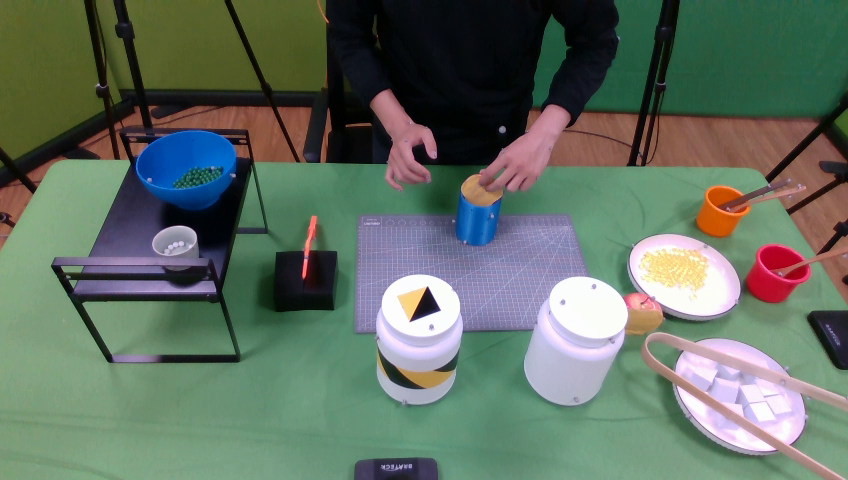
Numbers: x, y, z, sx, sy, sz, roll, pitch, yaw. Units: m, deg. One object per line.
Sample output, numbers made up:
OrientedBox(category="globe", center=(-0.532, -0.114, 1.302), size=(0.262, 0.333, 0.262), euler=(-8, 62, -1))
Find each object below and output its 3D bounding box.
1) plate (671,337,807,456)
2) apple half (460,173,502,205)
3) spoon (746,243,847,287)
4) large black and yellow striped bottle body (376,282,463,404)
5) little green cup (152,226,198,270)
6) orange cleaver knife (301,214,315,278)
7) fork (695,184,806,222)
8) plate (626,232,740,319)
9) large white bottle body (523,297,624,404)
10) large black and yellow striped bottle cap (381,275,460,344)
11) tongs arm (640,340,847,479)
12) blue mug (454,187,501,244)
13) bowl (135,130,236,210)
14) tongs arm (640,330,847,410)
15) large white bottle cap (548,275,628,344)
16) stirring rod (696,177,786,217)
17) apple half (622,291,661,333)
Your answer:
OrientedBox(category="plate", center=(0.504, 0.254, 0.984), size=(0.208, 0.039, 0.206), euler=(2, 46, -2))
OrientedBox(category="apple half", center=(0.110, -0.102, 1.158), size=(0.081, 0.081, 0.032), euler=(15, 41, 10))
OrientedBox(category="spoon", center=(0.702, 0.044, 1.126), size=(0.194, 0.022, 0.041), euler=(-29, 38, 30))
OrientedBox(category="large black and yellow striped bottle body", center=(-0.010, 0.155, 0.937), size=(0.131, 0.185, 0.130), euler=(2, 47, -2))
OrientedBox(category="little green cup", center=(-0.364, 0.013, 0.894), size=(0.061, 0.039, 0.061), euler=(3, 47, -3))
OrientedBox(category="orange cleaver knife", center=(-0.218, 0.007, 1.131), size=(0.012, 0.077, 0.210), euler=(7, 19, -9))
OrientedBox(category="fork", center=(0.658, -0.074, 1.230), size=(0.207, 0.019, 0.028), euler=(-24, 34, 36))
OrientedBox(category="plate", center=(0.489, 0.071, 1.157), size=(0.209, 0.038, 0.208), euler=(3, 46, -3))
OrientedBox(category="large white bottle body", center=(0.235, 0.159, 0.952), size=(0.131, 0.185, 0.130), euler=(2, 47, -2))
OrientedBox(category="large black and yellow striped bottle cap", center=(-0.005, 0.099, 0.875), size=(0.115, 0.019, 0.114), euler=(2, 45, -2))
OrientedBox(category="tongs arm", center=(0.500, 0.277, 0.919), size=(0.386, 0.028, 0.028), euler=(34, 59, 22))
OrientedBox(category="blue mug", center=(0.106, -0.067, 1.208), size=(0.082, 0.106, 0.116), euler=(5, 46, 1))
OrientedBox(category="bowl", center=(-0.375, -0.102, 0.978), size=(0.151, 0.077, 0.150), euler=(2, 46, -2))
OrientedBox(category="tongs arm", center=(0.543, 0.225, 0.969), size=(0.384, 0.026, 0.050), euler=(22, 52, 13))
OrientedBox(category="large white bottle cap", center=(0.240, 0.100, 0.890), size=(0.115, 0.018, 0.114), euler=(3, 47, -3))
OrientedBox(category="stirring rod", center=(0.648, -0.087, 1.244), size=(0.176, 0.006, 0.014), euler=(-25, 50, 29))
OrientedBox(category="apple half", center=(0.372, 0.123, 1.074), size=(0.081, 0.075, 0.053), euler=(0, 42, 1))
